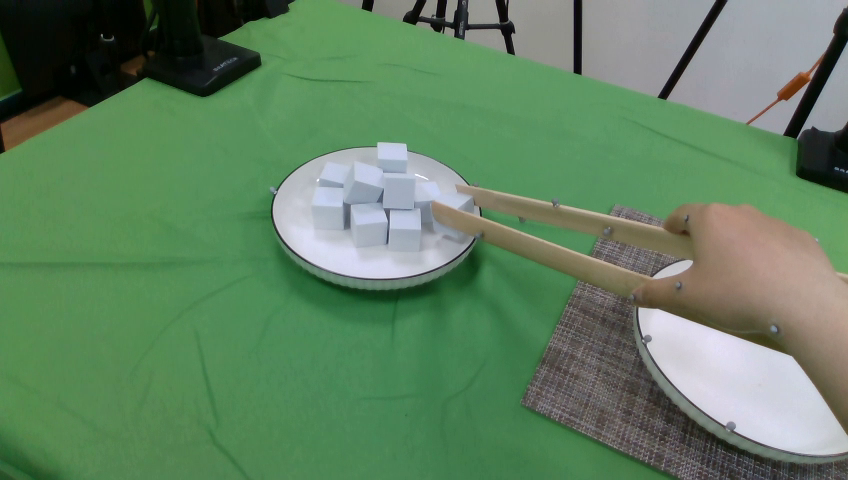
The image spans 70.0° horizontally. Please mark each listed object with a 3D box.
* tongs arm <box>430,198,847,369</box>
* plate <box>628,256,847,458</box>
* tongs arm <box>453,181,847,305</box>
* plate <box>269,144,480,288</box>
[{"bbox_3d":[0.142,0.019,0.457,0.028,0.028,0.384,-35,38,-31],"label":"tongs arm"},{"bbox_3d":[0.277,0.094,0.522,0.208,0.039,0.205,4,43,-3],"label":"plate"},{"bbox_3d":[0.158,0.006,0.469,0.381,0.027,0.050,17,46,40],"label":"tongs arm"},{"bbox_3d":[-0.048,-0.024,0.612,0.209,0.038,0.207,4,43,-3],"label":"plate"}]
